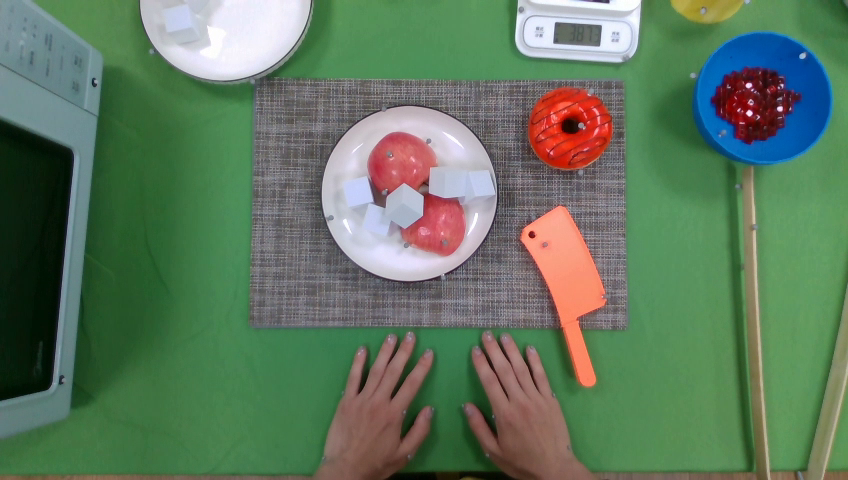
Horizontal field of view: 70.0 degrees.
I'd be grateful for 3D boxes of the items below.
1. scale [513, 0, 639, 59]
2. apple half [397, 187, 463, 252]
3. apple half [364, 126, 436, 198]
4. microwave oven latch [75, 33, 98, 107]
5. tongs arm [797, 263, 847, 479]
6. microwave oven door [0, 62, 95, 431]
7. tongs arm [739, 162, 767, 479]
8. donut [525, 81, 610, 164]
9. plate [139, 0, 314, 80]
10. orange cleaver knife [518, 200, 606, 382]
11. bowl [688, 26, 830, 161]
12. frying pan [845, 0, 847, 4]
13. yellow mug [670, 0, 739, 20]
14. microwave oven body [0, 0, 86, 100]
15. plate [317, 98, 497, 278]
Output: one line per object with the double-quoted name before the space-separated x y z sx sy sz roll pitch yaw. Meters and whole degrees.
"scale" 0.189 -0.325 0.736 0.148 0.031 0.200 5 86 1
"apple half" 0.007 -0.027 0.703 0.081 0.033 0.081 0 87 4
"apple half" -0.029 -0.095 0.699 0.081 0.053 0.074 -45 84 -3
"microwave oven latch" -0.403 -0.199 0.709 0.030 0.029 0.079 4 87 0
"tongs arm" 0.478 0.111 0.706 0.028 0.028 0.387 16 86 -6
"microwave oven door" -0.419 0.011 0.593 0.039 0.244 0.355 3 86 1
"tongs arm" 0.395 0.102 0.703 0.051 0.026 0.384 2 87 -4
"donut" 0.168 -0.138 0.713 0.099 0.048 0.099 0 86 3
"plate" -0.234 -0.291 0.734 0.208 0.039 0.207 0 86 0
"orange cleaver knife" 0.174 0.058 0.712 0.077 0.012 0.211 -17 85 -6
"bowl" 0.370 -0.158 0.700 0.151 0.077 0.151 0 86 1
"frying pan" 0.660 -0.268 0.693 0.307 0.103 0.485 -26 78 0
"yellow mug" 0.337 -0.337 0.719 0.100 0.064 0.130 -32 85 -1
"microwave oven body" -0.562 -0.039 0.603 0.326 0.260 0.441 3 86 0
"plate" -0.019 -0.059 0.712 0.209 0.038 0.208 0 86 1
